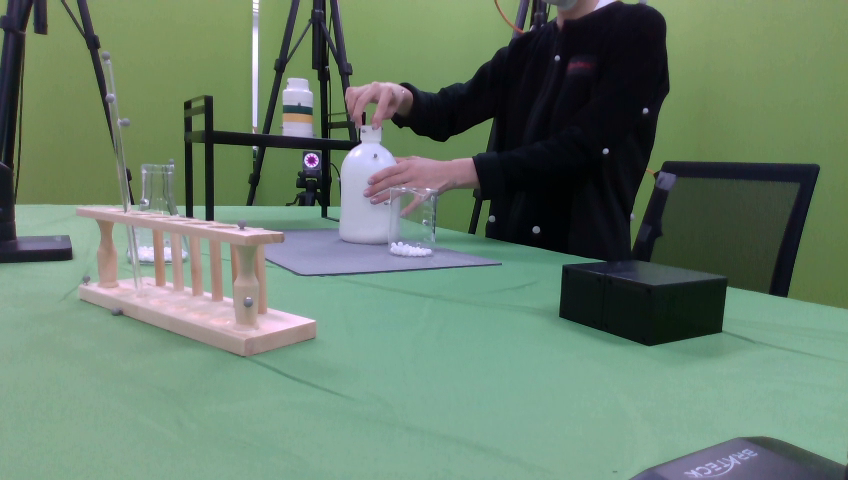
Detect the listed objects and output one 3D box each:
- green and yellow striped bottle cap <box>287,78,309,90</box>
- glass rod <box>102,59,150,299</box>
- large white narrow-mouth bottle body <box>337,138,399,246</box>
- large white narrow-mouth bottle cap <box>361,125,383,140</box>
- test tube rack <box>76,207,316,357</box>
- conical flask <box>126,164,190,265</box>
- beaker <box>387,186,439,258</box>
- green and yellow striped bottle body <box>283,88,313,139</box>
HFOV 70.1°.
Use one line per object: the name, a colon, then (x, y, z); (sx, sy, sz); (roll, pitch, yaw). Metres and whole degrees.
green and yellow striped bottle cap: (-0.265, -0.326, 1.268); (0.045, 0.020, 0.045); (4, 6, 0)
glass rod: (-0.243, -0.045, 0.496); (0.008, 0.199, 0.008); (-4, 12, 1)
large white narrow-mouth bottle body: (-0.092, -0.092, 1.014); (0.102, 0.194, 0.101); (5, 9, 0)
large white narrow-mouth bottle cap: (-0.085, -0.178, 0.999); (0.038, 0.024, 0.037); (5, 9, 0)
test tube rack: (-0.196, 0.023, 0.500); (0.241, 0.085, 0.067); (8, 9, 36)
conical flask: (-0.332, -0.033, 0.756); (0.075, 0.122, 0.075); (2, 8, 0)
beaker: (-0.015, -0.027, 0.885); (0.074, 0.100, 0.083); (-1, 8, -20)
green and yellow striped bottle body: (-0.266, -0.275, 1.275); (0.063, 0.119, 0.063); (3, 7, 0)
